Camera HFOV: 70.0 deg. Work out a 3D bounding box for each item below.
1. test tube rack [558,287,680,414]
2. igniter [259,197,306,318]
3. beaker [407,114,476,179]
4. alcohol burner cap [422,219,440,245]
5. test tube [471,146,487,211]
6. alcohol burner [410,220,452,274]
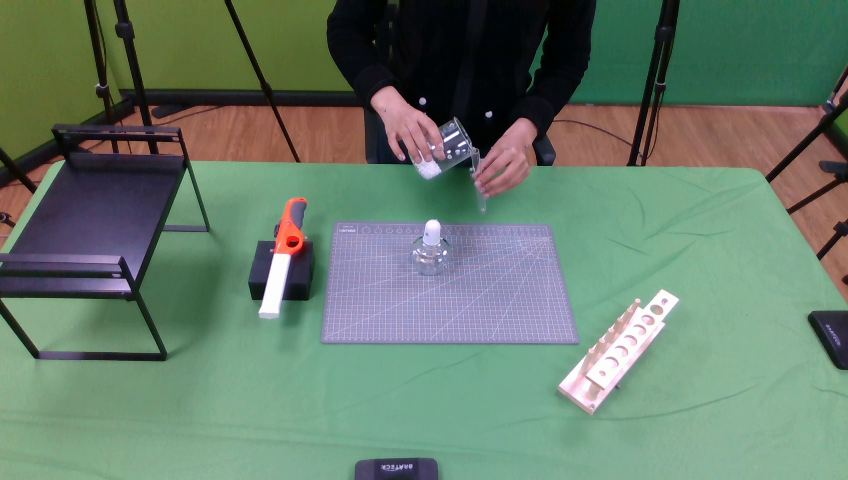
[{"bbox_3d":[0.327,0.170,1.009,0.066,0.085,0.242,36,54,27],"label":"test tube rack"},{"bbox_3d":[-0.252,0.021,1.087,0.057,0.025,0.275,4,48,-2],"label":"igniter"},{"bbox_3d":[0.030,-0.155,1.037,0.100,0.084,0.073,-30,53,14],"label":"beaker"},{"bbox_3d":[0.014,-0.018,1.094,0.034,0.048,0.033,5,44,-5],"label":"alcohol burner cap"},{"bbox_3d":[0.101,-0.110,1.114,0.017,0.151,0.017,-6,46,7],"label":"test tube"},{"bbox_3d":[0.013,0.008,1.120,0.078,0.120,0.077,1,48,-1],"label":"alcohol burner"}]
